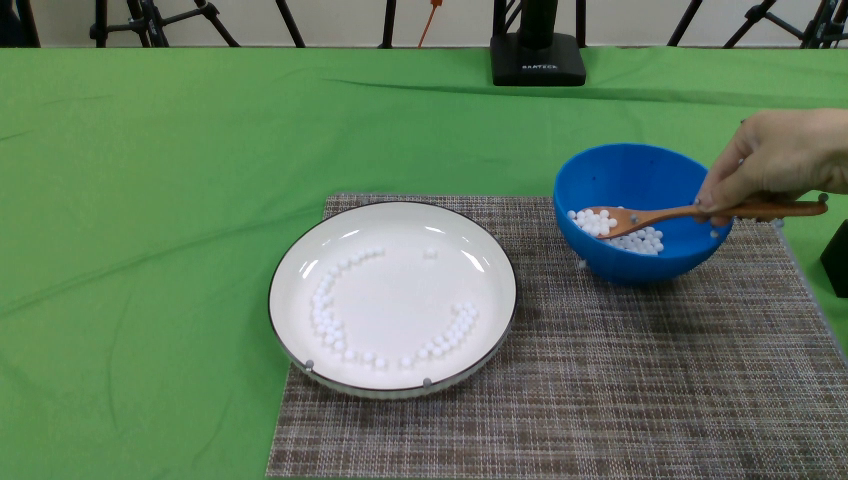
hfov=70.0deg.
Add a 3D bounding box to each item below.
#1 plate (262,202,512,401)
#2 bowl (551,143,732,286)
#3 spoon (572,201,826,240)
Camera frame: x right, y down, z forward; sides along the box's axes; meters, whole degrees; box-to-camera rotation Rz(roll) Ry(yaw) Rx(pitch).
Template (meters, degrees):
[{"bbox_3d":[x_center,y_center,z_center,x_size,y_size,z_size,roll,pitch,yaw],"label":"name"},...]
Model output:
[{"bbox_3d":[-0.030,0.049,0.518,0.208,0.039,0.205,0,46,1],"label":"plate"},{"bbox_3d":[0.186,-0.012,0.546,0.151,0.077,0.150,0,45,1],"label":"bowl"},{"bbox_3d":[0.207,-0.019,0.484,0.192,0.022,0.041,-5,39,46],"label":"spoon"}]
